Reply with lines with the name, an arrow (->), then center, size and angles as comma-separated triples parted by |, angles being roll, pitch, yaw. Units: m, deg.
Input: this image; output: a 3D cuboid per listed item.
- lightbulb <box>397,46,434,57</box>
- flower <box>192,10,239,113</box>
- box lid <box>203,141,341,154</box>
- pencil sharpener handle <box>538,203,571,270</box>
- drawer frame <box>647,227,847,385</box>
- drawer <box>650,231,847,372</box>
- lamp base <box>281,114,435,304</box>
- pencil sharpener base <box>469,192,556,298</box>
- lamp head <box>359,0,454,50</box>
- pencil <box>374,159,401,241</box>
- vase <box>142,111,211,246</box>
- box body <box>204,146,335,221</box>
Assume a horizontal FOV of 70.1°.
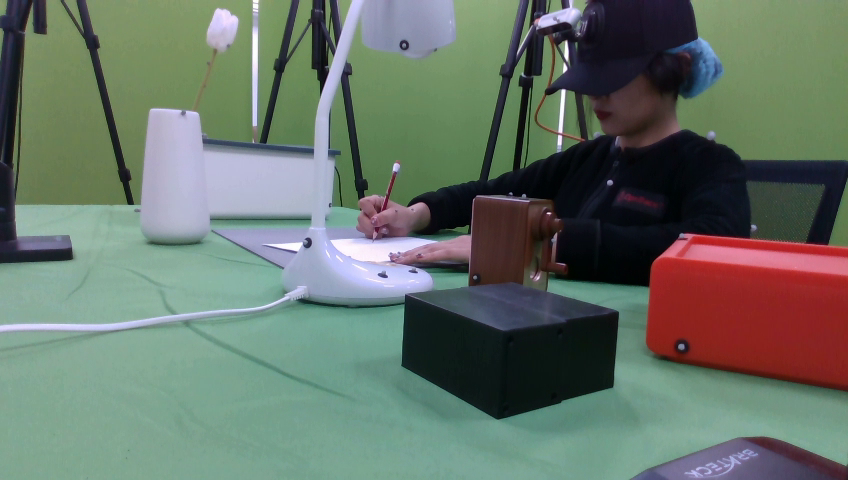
lightbulb -> -0.017, -0.264, 0.692 | 0.059, 0.108, 0.059 | -9, 29, 5
flower -> -0.354, -0.174, 0.915 | 0.038, 0.361, 0.044 | 18, -4, 12
box lid -> -0.396, -0.211, 1.373 | 0.373, 0.015, 0.262 | -1, 9, -29
pencil sharpener handle -> 0.137, -0.003, 0.619 | 0.030, 0.067, 0.036 | 8, 6, 38
drawer frame -> 0.303, 0.043, 0.495 | 0.201, 0.082, 0.214 | 6, 9, 26
drawer -> 0.303, 0.044, 0.499 | 0.194, 0.073, 0.212 | 7, 9, 27
lamp base -> -0.071, -0.034, 0.614 | 0.160, 0.180, 0.180 | 6, 10, 27
pencil sharpener base -> 0.097, 0.003, 0.652 | 0.076, 0.107, 0.061 | 8, 9, 38
lamp head -> -0.024, -0.282, 0.674 | 0.112, 0.123, 0.112 | -3, 38, 3
pencil -> -0.065, -0.073, 1.067 | 0.012, 0.012, 0.194 | 4, 52, 13
vase -> -0.378, -0.093, 0.920 | 0.098, 0.200, 0.098 | 2, 9, 0
box body -> -0.411, -0.135, 1.386 | 0.366, 0.160, 0.253 | -2, 9, -29
